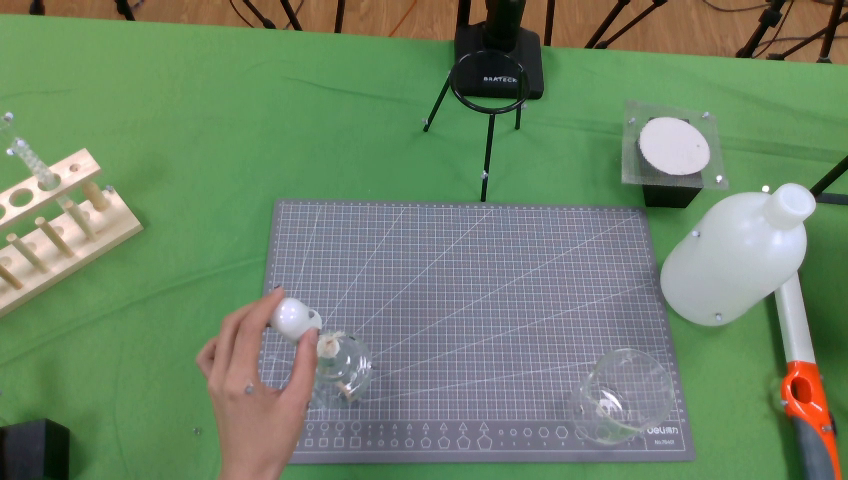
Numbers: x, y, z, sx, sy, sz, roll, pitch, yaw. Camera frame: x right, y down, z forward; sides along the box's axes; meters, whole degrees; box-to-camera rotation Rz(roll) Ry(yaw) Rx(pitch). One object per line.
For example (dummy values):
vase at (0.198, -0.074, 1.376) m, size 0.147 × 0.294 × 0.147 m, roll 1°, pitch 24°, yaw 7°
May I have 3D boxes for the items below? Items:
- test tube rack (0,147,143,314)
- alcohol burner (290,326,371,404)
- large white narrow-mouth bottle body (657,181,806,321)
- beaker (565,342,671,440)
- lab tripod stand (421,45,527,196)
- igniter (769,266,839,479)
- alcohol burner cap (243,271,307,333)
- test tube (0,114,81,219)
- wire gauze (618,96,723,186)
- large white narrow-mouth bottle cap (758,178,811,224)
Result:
test tube rack at (-0.430, 0.011, 0.622) m, size 0.242 × 0.086 × 0.066 m, roll -37°, pitch 71°, yaw -21°
alcohol burner at (-0.089, 0.114, 0.576) m, size 0.078 × 0.120 × 0.077 m, roll 3°, pitch 61°, yaw -5°
large white narrow-mouth bottle body at (0.320, 0.006, 0.620) m, size 0.102 × 0.196 × 0.101 m, roll 1°, pitch 62°, yaw -2°
beaker at (0.179, 0.150, 0.585) m, size 0.084 × 0.101 × 0.073 m, roll -2°, pitch 62°, yaw -4°
lab tripod stand at (0.067, -0.147, 0.715) m, size 0.148 × 0.132 × 0.147 m, roll 3°, pitch 63°, yaw -5°
igniter at (0.403, 0.138, 0.653) m, size 0.057 × 0.025 × 0.274 m, roll 12°, pitch 61°, yaw -9°
alcohol burner cap at (-0.110, 0.050, 0.463) m, size 0.047 × 0.034 × 0.034 m, roll 40°, pitch 67°, yaw 16°
test tube at (-0.386, -0.068, 0.610) m, size 0.017 × 0.151 × 0.017 m, roll 0°, pitch 57°, yaw 0°
wire gauze at (0.295, -0.119, 0.733) m, size 0.121 × 0.011 × 0.124 m, roll 8°, pitch 62°, yaw 0°
large white narrow-mouth bottle cap at (0.324, -0.035, 0.546) m, size 0.038 × 0.024 × 0.037 m, roll 2°, pitch 62°, yaw -3°
